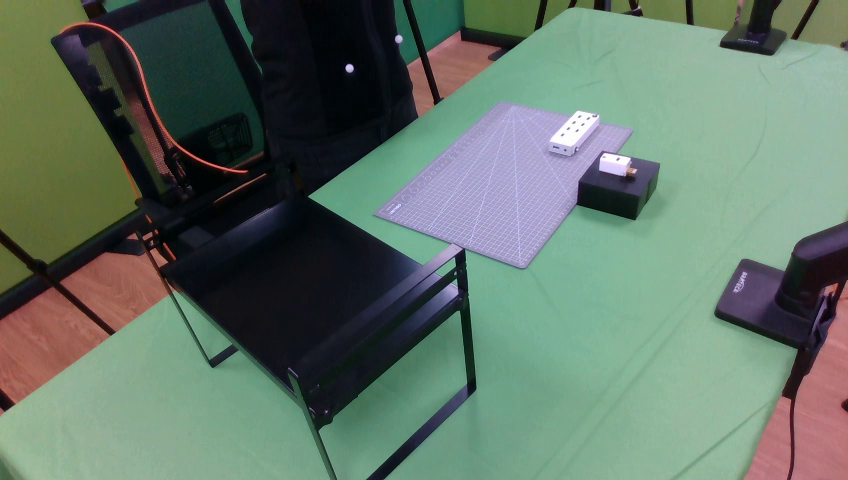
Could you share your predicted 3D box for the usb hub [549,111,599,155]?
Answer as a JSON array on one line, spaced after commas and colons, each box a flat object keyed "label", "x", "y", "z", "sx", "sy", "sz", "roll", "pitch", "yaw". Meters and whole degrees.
[{"label": "usb hub", "x": 0.291, "y": -0.207, "z": 1.166, "sx": 0.049, "sy": 0.025, "sz": 0.125, "roll": 21, "pitch": 49, "yaw": 29}]

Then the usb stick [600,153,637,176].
[{"label": "usb stick", "x": 0.320, "y": -0.122, "z": 0.990, "sx": 0.059, "sy": 0.027, "sz": 0.021, "roll": 21, "pitch": 45, "yaw": 26}]
